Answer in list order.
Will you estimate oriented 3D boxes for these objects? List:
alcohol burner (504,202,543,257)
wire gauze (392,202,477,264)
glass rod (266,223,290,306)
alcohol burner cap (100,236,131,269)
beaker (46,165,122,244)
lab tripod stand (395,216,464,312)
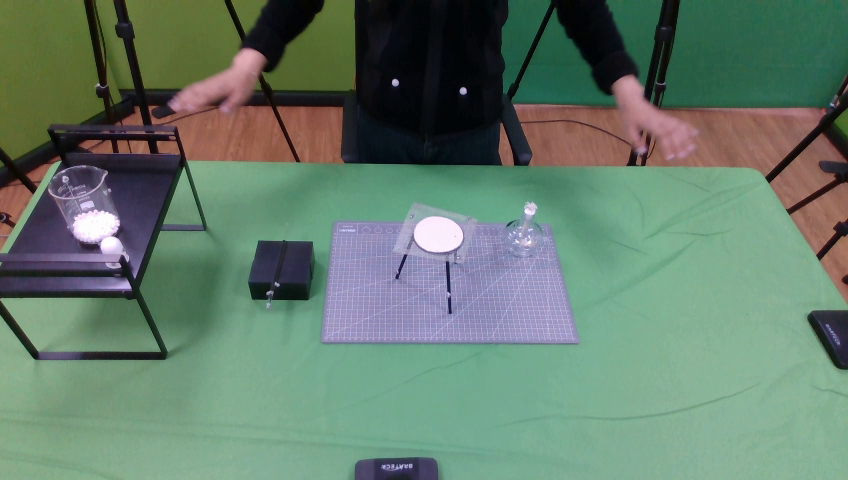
[{"bbox_3d":[0.195,-0.025,1.170,0.078,0.119,0.077,2,44,-2],"label":"alcohol burner"},{"bbox_3d":[0.021,-0.011,1.037,0.121,0.011,0.124,14,47,8],"label":"wire gauze"},{"bbox_3d":[-0.260,0.039,1.083,0.008,0.008,0.198,3,46,-1],"label":"glass rod"},{"bbox_3d":[-0.452,0.016,0.883,0.034,0.048,0.033,1,47,-1],"label":"alcohol burner cap"},{"bbox_3d":[-0.499,-0.051,0.905,0.073,0.101,0.084,35,53,26],"label":"beaker"},{"bbox_3d":[0.023,0.036,1.084,0.148,0.132,0.147,4,46,-4],"label":"lab tripod stand"}]
